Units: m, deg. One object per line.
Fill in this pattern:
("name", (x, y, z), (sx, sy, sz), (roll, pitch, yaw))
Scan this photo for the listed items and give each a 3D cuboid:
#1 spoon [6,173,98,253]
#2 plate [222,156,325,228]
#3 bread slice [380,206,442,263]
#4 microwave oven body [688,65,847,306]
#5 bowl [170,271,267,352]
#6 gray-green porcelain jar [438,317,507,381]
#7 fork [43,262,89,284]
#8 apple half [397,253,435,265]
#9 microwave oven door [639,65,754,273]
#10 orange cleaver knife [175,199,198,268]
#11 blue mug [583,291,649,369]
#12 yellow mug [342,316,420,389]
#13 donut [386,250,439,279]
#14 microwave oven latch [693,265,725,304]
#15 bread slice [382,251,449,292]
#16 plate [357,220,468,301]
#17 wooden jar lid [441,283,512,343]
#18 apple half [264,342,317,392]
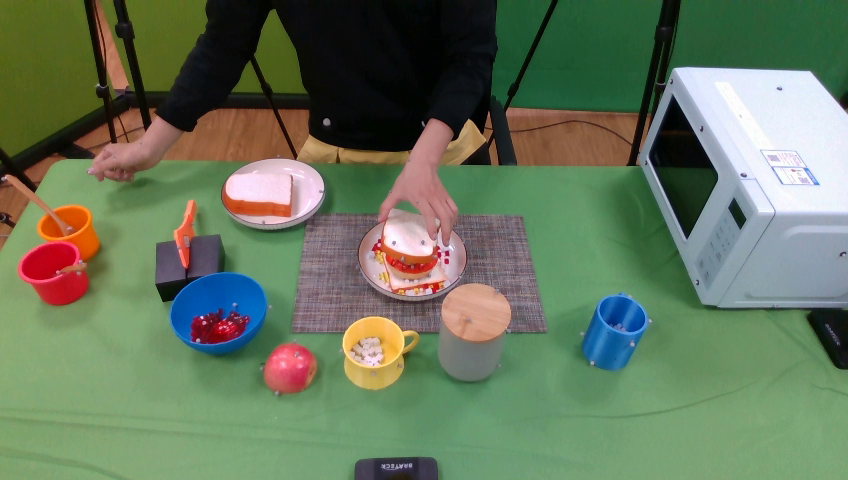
("spoon", (-0.678, -0.050, 1.106), (0.021, 0.194, 0.041), (-19, 27, 44))
("plate", (-0.308, -0.095, 1.251), (0.209, 0.038, 0.208), (3, 46, -3))
("bread slice", (-0.022, -0.010, 1.061), (0.105, 0.019, 0.131), (13, 38, -4))
("microwave oven body", (0.669, -0.111, 1.176), (0.326, 0.261, 0.439), (0, 46, -3))
("bowl", (-0.333, 0.132, 1.006), (0.151, 0.077, 0.150), (2, 46, -2))
("gray-green porcelain jar", (0.076, 0.158, 0.977), (0.106, 0.127, 0.105), (2, 47, -2))
("fork", (-0.599, 0.053, 1.013), (0.207, 0.019, 0.028), (-14, 30, 45))
("apple half", (-0.017, 0.006, 1.083), (0.081, 0.033, 0.081), (6, 49, -7))
("microwave oven door", (0.522, -0.147, 1.193), (0.039, 0.245, 0.353), (0, 47, -3))
("orange cleaver knife", (-0.438, -0.017, 1.138), (0.012, 0.077, 0.210), (-14, 27, -7))
("blue mug", (0.324, 0.142, 1.023), (0.082, 0.106, 0.116), (15, 47, 11))
("yellow mug", (-0.067, 0.178, 0.990), (0.131, 0.064, 0.099), (-16, 50, -19))
("donut", (-0.021, 0.029, 1.110), (0.099, 0.048, 0.098), (2, 46, -2))
("microwave oven latch", (0.522, 0.081, 1.115), (0.030, 0.029, 0.078), (2, 46, -1))
("bread slice", (-0.027, 0.039, 1.139), (0.107, 0.018, 0.133), (-12, 47, -16))
("plate", (-0.022, 0.037, 1.141), (0.208, 0.039, 0.206), (2, 46, -2))
("wooden jar lid", (0.080, 0.114, 0.931), (0.108, 0.021, 0.107), (1, 49, -1))
("apple half", (-0.214, 0.198, 0.970), (0.074, 0.053, 0.080), (19, 48, 10))
